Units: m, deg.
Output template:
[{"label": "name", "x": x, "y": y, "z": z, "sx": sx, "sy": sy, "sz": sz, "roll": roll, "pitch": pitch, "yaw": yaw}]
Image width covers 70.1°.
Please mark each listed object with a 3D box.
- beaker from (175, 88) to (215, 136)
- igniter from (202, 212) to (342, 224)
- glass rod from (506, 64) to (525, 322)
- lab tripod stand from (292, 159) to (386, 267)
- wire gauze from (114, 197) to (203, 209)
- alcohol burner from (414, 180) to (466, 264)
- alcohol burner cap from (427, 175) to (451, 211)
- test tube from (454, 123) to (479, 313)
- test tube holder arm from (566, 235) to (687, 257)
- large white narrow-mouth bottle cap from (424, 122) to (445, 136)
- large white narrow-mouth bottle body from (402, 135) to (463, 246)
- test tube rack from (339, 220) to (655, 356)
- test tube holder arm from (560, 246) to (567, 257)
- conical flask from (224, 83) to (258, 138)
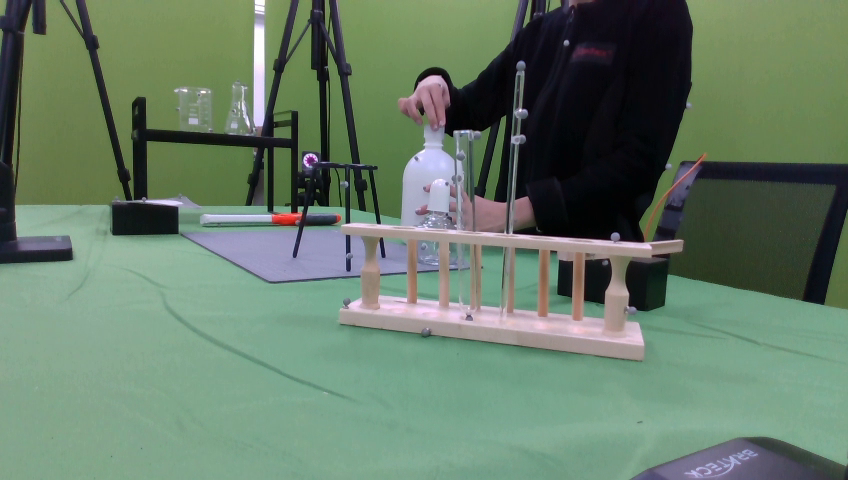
[{"label": "beaker", "x": -0.511, "y": -0.285, "z": 1.353, "sx": 0.084, "sy": 0.100, "sz": 0.073, "roll": -2, "pitch": 8, "yaw": -25}, {"label": "igniter", "x": -0.298, "y": -0.044, "z": 1.216, "sx": 0.278, "sy": 0.025, "sz": 0.057, "roll": -2, "pitch": -2, "yaw": -33}, {"label": "glass rod", "x": 0.069, "y": -0.030, "z": 0.458, "sx": 0.008, "sy": 0.199, "sz": 0.008, "roll": 0, "pitch": 15, "yaw": 0}, {"label": "lab tripod stand", "x": -0.105, "y": -0.039, "z": 0.798, "sx": 0.148, "sy": 0.131, "sz": 0.148, "roll": 2, "pitch": 5, "yaw": 0}, {"label": "wire gauze", "x": -0.447, "y": -0.062, "z": 1.015, "sx": 0.126, "sy": 0.011, "sz": 0.121, "roll": -2, "pitch": 8, "yaw": -31}, {"label": "alcohol burner", "x": 0.021, "y": -0.028, "z": 0.826, "sx": 0.078, "sy": 0.119, "sz": 0.078, "roll": 0, "pitch": 6, "yaw": 0}, {"label": "alcohol burner cap", "x": 0.023, "y": -0.064, "z": 0.822, "sx": 0.034, "sy": 0.048, "sz": 0.034, "roll": 7, "pitch": 5, "yaw": 0}, {"label": "test tube", "x": 0.034, "y": -0.016, "z": 0.477, "sx": 0.017, "sy": 0.150, "sz": 0.017, "roll": -2, "pitch": 9, "yaw": 1}, {"label": "test tube holder arm", "x": 0.215, "y": 0.006, "z": 0.630, "sx": 0.179, "sy": 0.015, "sz": 0.013, "roll": -3, "pitch": 9, "yaw": -31}, {"label": "large white narrow-mouth bottle cap", "x": 0.018, "y": -0.186, "z": 1.016, "sx": 0.038, "sy": 0.024, "sz": 0.037, "roll": 2, "pitch": 8, "yaw": 0}, {"label": "large white narrow-mouth bottle body", "x": 0.015, "y": -0.092, "z": 1.031, "sx": 0.102, "sy": 0.194, "sz": 0.102, "roll": 2, "pitch": 8, "yaw": 0}, {"label": "test tube rack", "x": 0.056, "y": 0.032, "z": 0.495, "sx": 0.242, "sy": 0.085, "sz": 0.067, "roll": 4, "pitch": 7, "yaw": 15}, {"label": "test tube holder arm", "x": 0.173, "y": 0.007, "z": 0.611, "sx": 0.088, "sy": 0.015, "sz": 0.010, "roll": -3, "pitch": 9, "yaw": -30}, {"label": "conical flask", "x": -0.422, "y": -0.299, "z": 1.395, "sx": 0.075, "sy": 0.122, "sz": 0.075, "roll": 2, "pitch": 7, "yaw": 0}]
